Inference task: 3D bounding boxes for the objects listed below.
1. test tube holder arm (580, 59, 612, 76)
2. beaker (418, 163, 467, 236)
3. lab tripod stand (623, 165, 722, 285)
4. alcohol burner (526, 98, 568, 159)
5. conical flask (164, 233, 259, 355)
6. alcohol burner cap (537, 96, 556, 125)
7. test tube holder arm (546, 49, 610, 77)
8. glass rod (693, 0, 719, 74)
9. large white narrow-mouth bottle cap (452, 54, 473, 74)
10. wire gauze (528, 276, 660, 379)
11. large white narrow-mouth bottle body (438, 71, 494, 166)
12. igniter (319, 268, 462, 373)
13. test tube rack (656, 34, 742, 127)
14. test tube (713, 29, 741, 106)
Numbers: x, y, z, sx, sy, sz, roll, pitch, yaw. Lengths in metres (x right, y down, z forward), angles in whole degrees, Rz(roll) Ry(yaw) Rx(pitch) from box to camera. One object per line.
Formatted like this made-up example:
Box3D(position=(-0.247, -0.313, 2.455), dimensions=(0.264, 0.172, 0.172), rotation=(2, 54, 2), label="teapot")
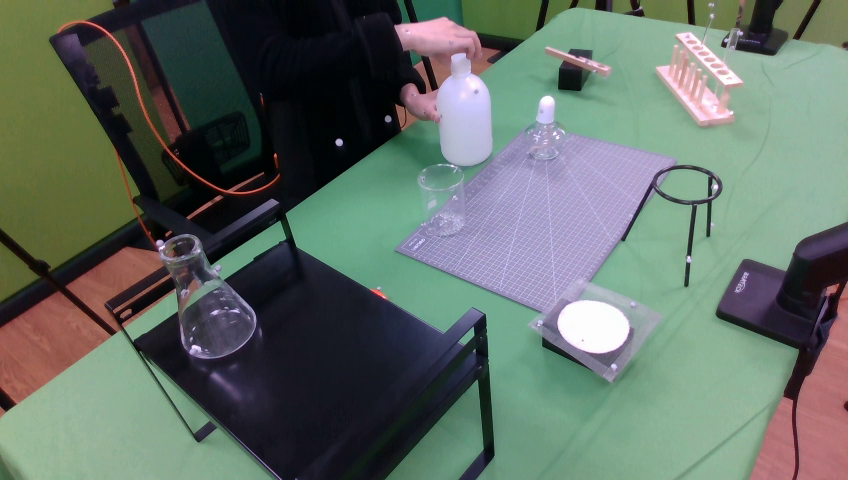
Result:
Box3D(position=(0.363, -0.369, 1.288), dimensions=(0.010, 0.015, 0.087), rotation=(-27, 43, -29), label="test tube holder arm")
Box3D(position=(0.035, -0.065, 0.990), dimensions=(0.073, 0.101, 0.084), rotation=(24, 49, 32), label="beaker")
Box3D(position=(0.365, -0.030, 0.875), dimensions=(0.148, 0.132, 0.147), rotation=(-6, 41, 6), label="lab tripod stand")
Box3D(position=(0.228, -0.210, 1.118), dimensions=(0.078, 0.119, 0.077), rotation=(-5, 43, 5), label="alcohol burner")
Box3D(position=(-0.216, 0.051, 0.601), dimensions=(0.075, 0.122, 0.075), rotation=(-4, 40, 4), label="conical flask")
Box3D(position=(0.223, -0.237, 1.095), dimensions=(0.034, 0.048, 0.033), rotation=(-1, 42, 1), label="alcohol burner cap")
Box3D(position=(0.331, -0.387, 1.315), dimensions=(0.013, 0.015, 0.177), rotation=(-26, 43, -28), label="test tube holder arm")
Box3D(position=(0.560, -0.401, 1.214), dimensions=(0.008, 0.200, 0.008), rotation=(-1, 48, 2), label="glass rod")
Box3D(position=(0.068, -0.310, 1.064), dimensions=(0.038, 0.024, 0.037), rotation=(-4, 40, 4), label="large white narrow-mouth bottle cap")
Box3D(position=(0.213, 0.103, 0.763), dimensions=(0.124, 0.011, 0.122), rotation=(30, 52, 35), label="wire gauze")
Box3D(position=(0.077, -0.242, 1.122), dimensions=(0.102, 0.195, 0.101), rotation=(-4, 40, 4), label="large white narrow-mouth bottle body")
Box3D(position=(-0.059, 0.107, 0.862), dimensions=(0.274, 0.025, 0.057), rotation=(28, 62, 34), label="igniter")
Box3D(position=(0.553, -0.331, 1.233), dimensions=(0.067, 0.085, 0.241), rotation=(-7, 40, 2), label="test tube rack")
Box3D(position=(0.573, -0.324, 1.146), dimensions=(0.017, 0.151, 0.017), rotation=(-3, 39, 3), label="test tube")
